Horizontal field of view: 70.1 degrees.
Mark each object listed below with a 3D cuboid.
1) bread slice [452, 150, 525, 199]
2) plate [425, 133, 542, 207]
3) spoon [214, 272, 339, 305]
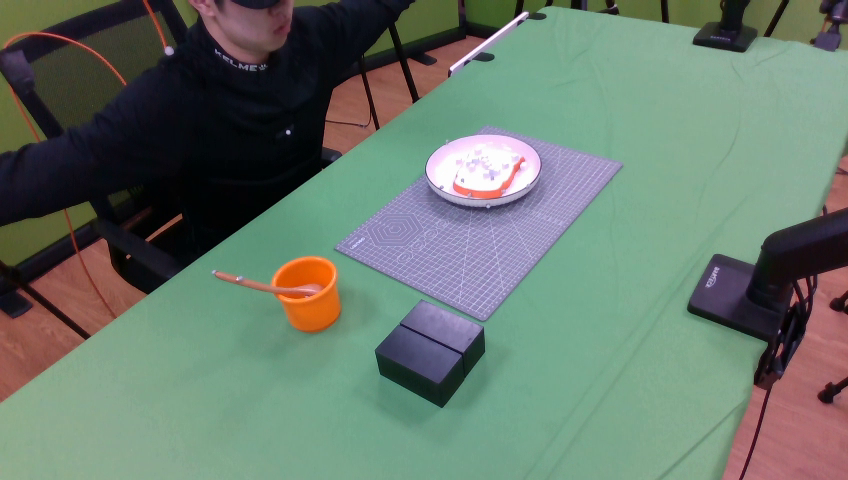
[{"bbox_3d":[0.112,-0.118,1.079,0.104,0.019,0.131,11,43,21],"label":"bread slice"},{"bbox_3d":[0.106,-0.121,1.079,0.209,0.038,0.208,-4,41,4],"label":"plate"},{"bbox_3d":[-0.192,0.066,0.814,0.195,0.021,0.041,13,20,-44],"label":"spoon"}]
